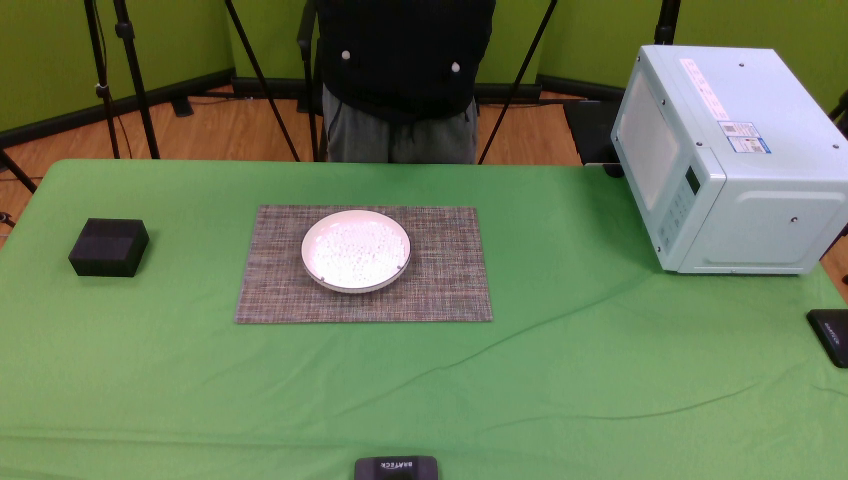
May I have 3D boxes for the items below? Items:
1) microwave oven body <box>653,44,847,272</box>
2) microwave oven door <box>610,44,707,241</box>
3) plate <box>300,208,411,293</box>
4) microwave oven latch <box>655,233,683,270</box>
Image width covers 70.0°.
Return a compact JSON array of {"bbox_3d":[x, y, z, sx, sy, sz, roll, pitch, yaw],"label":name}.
[{"bbox_3d":[0.620,-0.172,1.234,0.326,0.261,0.439,0,46,-3],"label":"microwave oven body"},{"bbox_3d":[0.473,-0.207,1.250,0.039,0.245,0.353,1,47,-4],"label":"microwave oven door"},{"bbox_3d":[-0.128,0.022,1.149,0.209,0.038,0.208,2,47,-2],"label":"plate"},{"bbox_3d":[0.473,0.021,1.175,0.030,0.029,0.078,2,46,-1],"label":"microwave oven latch"}]
